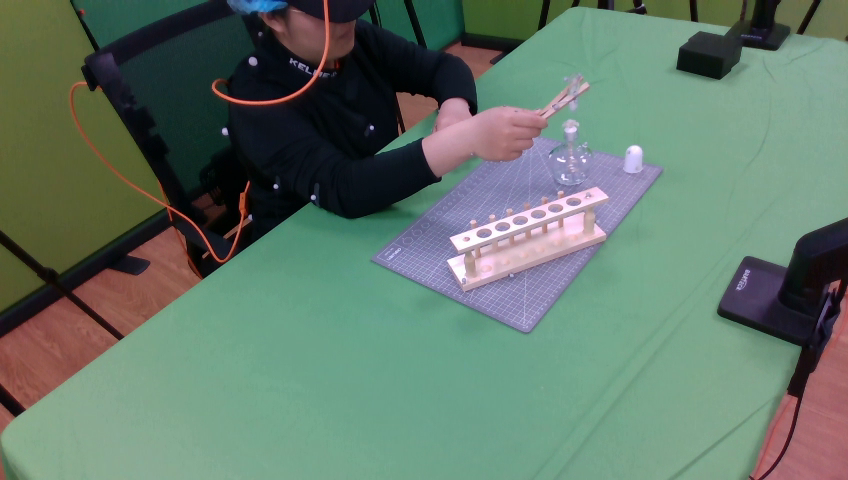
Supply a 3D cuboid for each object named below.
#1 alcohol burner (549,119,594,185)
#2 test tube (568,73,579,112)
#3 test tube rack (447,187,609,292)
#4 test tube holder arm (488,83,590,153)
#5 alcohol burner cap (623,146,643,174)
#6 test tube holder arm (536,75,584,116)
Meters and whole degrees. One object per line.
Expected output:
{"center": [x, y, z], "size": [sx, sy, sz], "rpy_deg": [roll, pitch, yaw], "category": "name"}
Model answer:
{"center": [0.254, -0.155, 1.043], "size": [0.078, 0.120, 0.077], "rpy_deg": [-7, 40, 7], "category": "alcohol burner"}
{"center": [0.232, -0.226, 0.937], "size": [0.017, 0.151, 0.017], "rpy_deg": [-1, 85, 14], "category": "test tube"}
{"center": [0.155, -0.011, 0.913], "size": [0.243, 0.085, 0.066], "rpy_deg": [-19, 41, -11], "category": "test tube rack"}
{"center": [0.176, -0.187, 0.937], "size": [0.178, 0.013, 0.015], "rpy_deg": [-34, -6, 17], "category": "test tube holder arm"}
{"center": [0.369, -0.143, 1.062], "size": [0.034, 0.048, 0.033], "rpy_deg": [-7, 41, 6], "category": "alcohol burner cap"}
{"center": [0.207, -0.218, 0.924], "size": [0.087, 0.015, 0.010], "rpy_deg": [-43, 82, 16], "category": "test tube holder arm"}
